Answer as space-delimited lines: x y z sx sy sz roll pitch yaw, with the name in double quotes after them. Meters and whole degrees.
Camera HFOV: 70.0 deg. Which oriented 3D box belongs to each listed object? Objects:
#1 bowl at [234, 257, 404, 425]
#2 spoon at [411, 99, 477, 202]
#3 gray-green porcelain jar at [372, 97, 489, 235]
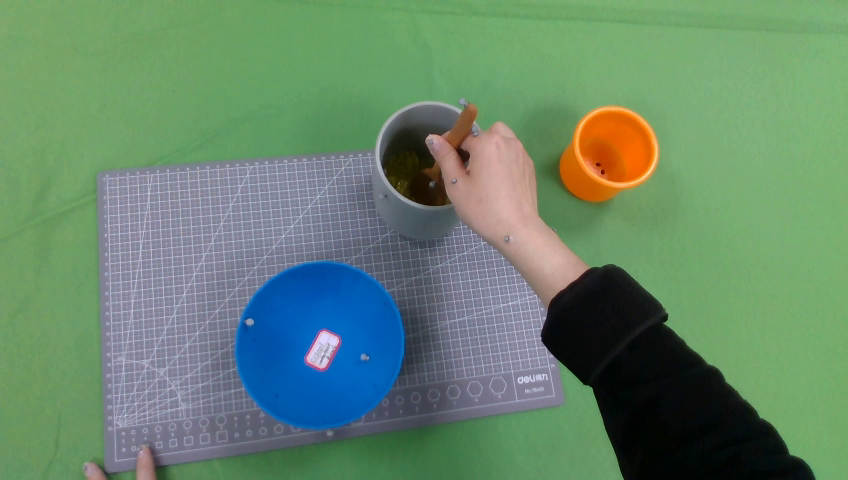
-0.097 0.097 0.578 0.152 0.077 0.150 2 76 -7 "bowl"
0.017 -0.075 0.552 0.021 0.194 0.041 -38 85 -17 "spoon"
0.001 -0.065 0.602 0.106 0.127 0.105 2 76 -6 "gray-green porcelain jar"
